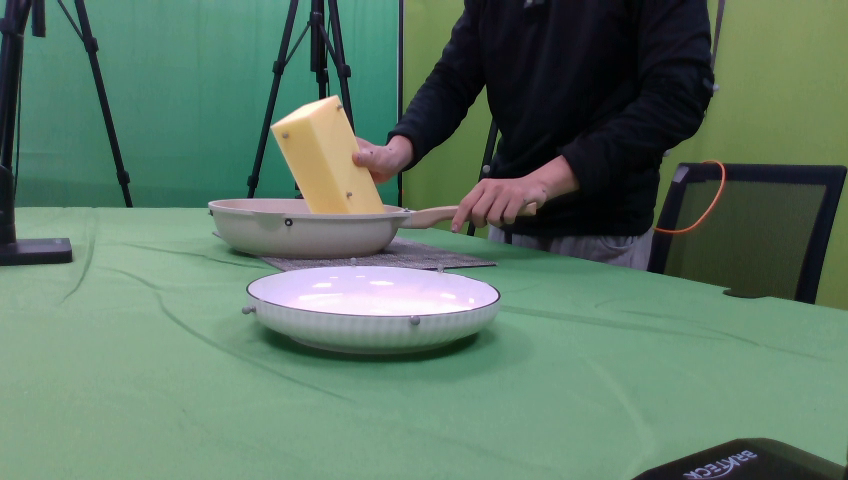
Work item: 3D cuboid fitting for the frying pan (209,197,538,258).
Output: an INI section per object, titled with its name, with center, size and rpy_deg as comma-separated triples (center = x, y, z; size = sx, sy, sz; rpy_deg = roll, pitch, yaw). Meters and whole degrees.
[frying pan]
center = -0.075, -0.034, 0.912
size = 0.487, 0.102, 0.307
rpy_deg = -5, 7, 12

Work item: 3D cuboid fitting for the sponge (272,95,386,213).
[sponge]
center = -0.133, -0.097, 0.898
size = 0.061, 0.207, 0.118
rpy_deg = -13, 24, 20

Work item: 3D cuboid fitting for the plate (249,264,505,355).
[plate]
center = -0.037, 0.056, 0.504
size = 0.208, 0.039, 0.207
rpy_deg = 2, 7, 0
